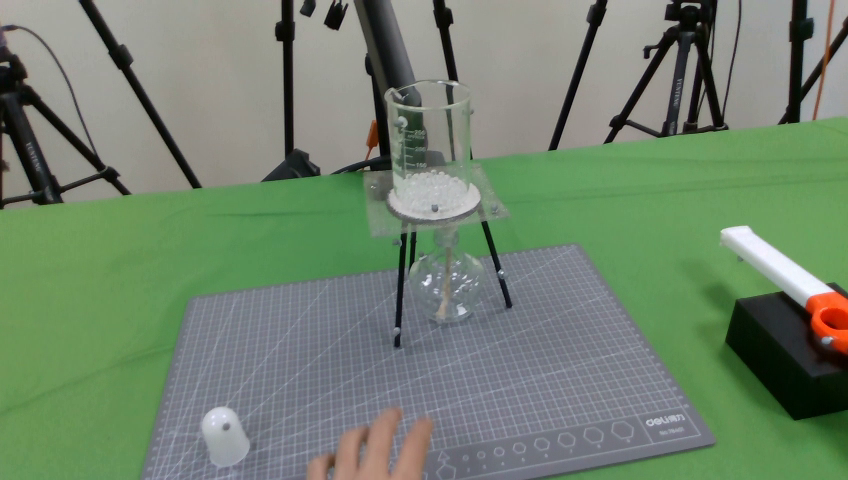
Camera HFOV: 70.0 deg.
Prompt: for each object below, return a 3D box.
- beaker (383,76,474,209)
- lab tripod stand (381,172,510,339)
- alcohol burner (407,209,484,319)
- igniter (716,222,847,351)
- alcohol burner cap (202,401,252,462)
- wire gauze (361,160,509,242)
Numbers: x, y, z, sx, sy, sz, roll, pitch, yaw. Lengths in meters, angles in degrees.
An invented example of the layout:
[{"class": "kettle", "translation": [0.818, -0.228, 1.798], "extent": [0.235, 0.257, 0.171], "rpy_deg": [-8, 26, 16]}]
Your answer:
[{"class": "beaker", "translation": [0.002, -0.085, 0.534], "extent": [0.074, 0.101, 0.083], "rpy_deg": [-28, 40, -34]}, {"class": "lab tripod stand", "translation": [0.013, 0.009, 0.599], "extent": [0.148, 0.132, 0.147], "rpy_deg": [-1, 32, 1]}, {"class": "alcohol burner", "translation": [0.021, 0.019, 0.601], "extent": [0.078, 0.120, 0.077], "rpy_deg": [-1, 35, 1]}, {"class": "igniter", "translation": [0.342, 0.055, 0.515], "extent": [0.057, 0.025, 0.273], "rpy_deg": [-9, 30, -7]}, {"class": "alcohol burner cap", "translation": [-0.159, 0.149, 0.484], "extent": [0.034, 0.048, 0.033], "rpy_deg": [-2, 34, 2]}, {"class": "wire gauze", "translation": [0.005, -0.043, 0.560], "extent": [0.121, 0.011, 0.123], "rpy_deg": [-8, 35, -6]}]
